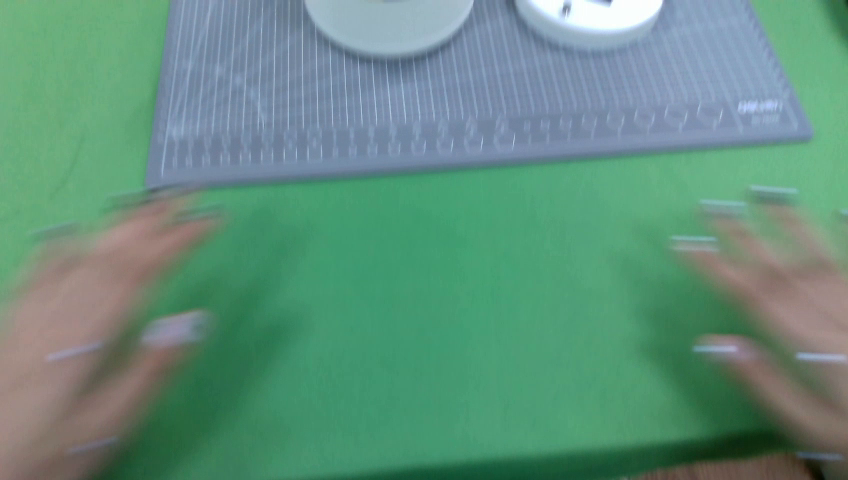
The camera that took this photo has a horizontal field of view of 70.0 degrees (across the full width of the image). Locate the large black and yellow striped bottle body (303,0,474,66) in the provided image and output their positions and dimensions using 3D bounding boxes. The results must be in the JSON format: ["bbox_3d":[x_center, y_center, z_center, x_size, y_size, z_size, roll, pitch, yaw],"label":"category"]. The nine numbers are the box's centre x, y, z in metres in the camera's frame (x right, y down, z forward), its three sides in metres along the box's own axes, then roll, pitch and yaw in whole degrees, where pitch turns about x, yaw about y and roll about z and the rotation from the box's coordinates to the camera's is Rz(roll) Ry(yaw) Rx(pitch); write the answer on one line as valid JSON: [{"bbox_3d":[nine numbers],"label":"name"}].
[{"bbox_3d":[-0.026,-0.224,0.393,0.131,0.185,0.129,0,61,0],"label":"large black and yellow striped bottle body"}]

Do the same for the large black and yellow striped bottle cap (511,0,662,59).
[{"bbox_3d":[0.126,-0.188,0.473,0.115,0.019,0.114,1,60,-1],"label":"large black and yellow striped bottle cap"}]
